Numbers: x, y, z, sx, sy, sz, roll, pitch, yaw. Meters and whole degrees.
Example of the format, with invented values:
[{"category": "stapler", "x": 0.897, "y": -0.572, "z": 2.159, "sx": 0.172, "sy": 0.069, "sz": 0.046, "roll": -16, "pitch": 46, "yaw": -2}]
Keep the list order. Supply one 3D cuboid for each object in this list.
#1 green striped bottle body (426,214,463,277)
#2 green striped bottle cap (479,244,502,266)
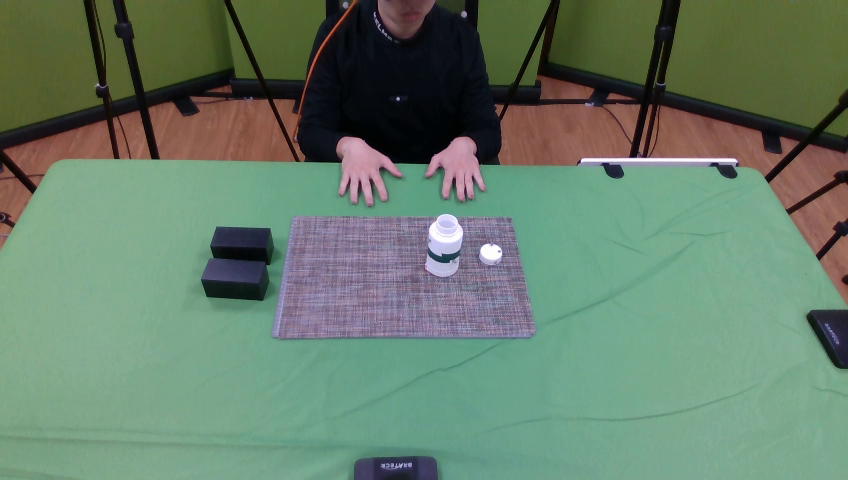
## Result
[{"category": "green striped bottle body", "x": 0.037, "y": 0.008, "z": 1.121, "sx": 0.063, "sy": 0.120, "sz": 0.063, "roll": 2, "pitch": 46, "yaw": -2}, {"category": "green striped bottle cap", "x": 0.130, "y": 0.029, "z": 1.181, "sx": 0.044, "sy": 0.020, "sz": 0.044, "roll": 0, "pitch": 46, "yaw": 0}]
